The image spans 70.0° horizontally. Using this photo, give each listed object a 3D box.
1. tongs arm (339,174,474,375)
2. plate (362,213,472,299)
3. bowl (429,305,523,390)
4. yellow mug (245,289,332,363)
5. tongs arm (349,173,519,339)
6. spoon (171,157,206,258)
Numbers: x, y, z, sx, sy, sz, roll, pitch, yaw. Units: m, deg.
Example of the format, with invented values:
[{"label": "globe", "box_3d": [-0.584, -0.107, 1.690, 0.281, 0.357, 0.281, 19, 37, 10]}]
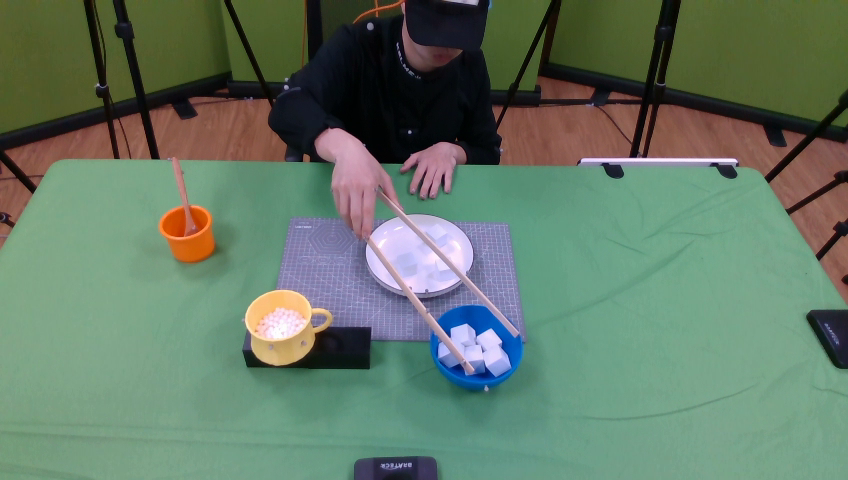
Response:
[{"label": "tongs arm", "box_3d": [-0.029, 0.049, 0.976, 0.051, 0.026, 0.383, -34, 75, -21]}, {"label": "plate", "box_3d": [-0.013, 0.034, 1.150, 0.208, 0.039, 0.206, 3, 46, -2]}, {"label": "bowl", "box_3d": [0.080, 0.187, 0.985, 0.151, 0.077, 0.150, 3, 46, -3]}, {"label": "yellow mug", "box_3d": [-0.211, 0.132, 0.954, 0.131, 0.064, 0.099, -9, 48, -14]}, {"label": "tongs arm", "box_3d": [0.013, 0.020, 0.997, 0.028, 0.028, 0.386, -41, 77, -19]}, {"label": "spoon", "box_3d": [-0.444, -0.061, 1.133, 0.042, 0.193, 0.021, -12, 4, -20]}]
